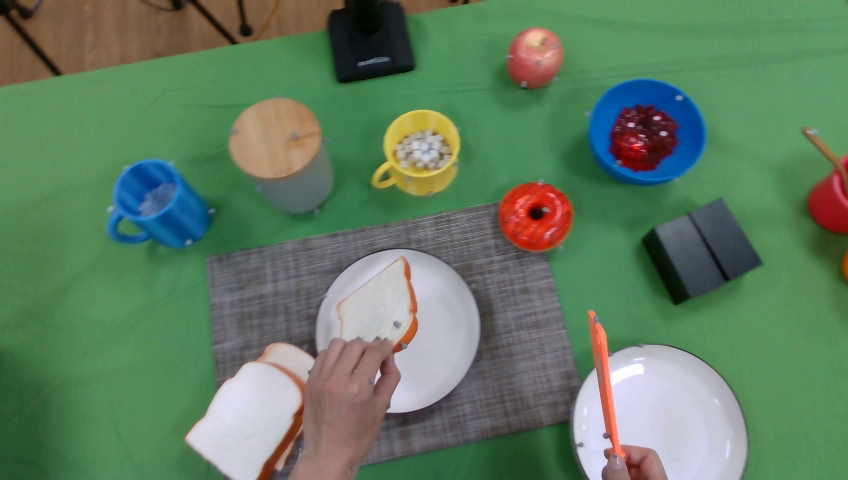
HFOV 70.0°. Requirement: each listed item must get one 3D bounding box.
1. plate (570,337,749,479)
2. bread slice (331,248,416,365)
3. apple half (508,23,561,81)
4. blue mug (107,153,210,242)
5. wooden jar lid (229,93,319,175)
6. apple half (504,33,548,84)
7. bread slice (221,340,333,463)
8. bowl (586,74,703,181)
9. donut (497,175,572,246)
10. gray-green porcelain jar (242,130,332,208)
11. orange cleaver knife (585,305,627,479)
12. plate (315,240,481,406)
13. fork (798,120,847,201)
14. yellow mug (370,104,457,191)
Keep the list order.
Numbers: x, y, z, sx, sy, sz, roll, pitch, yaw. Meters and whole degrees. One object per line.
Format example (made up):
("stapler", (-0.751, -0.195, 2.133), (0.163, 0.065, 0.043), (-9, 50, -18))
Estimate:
("plate", (0.278, 0.223, 0.730), (0.209, 0.038, 0.208), (0, 72, 1))
("bread slice", (-0.053, 0.077, 0.684), (0.107, 0.018, 0.133), (-38, 35, 10))
("apple half", (0.163, -0.273, 0.869), (0.053, 0.075, 0.080), (-41, 72, -17))
("blue mug", (-0.350, -0.043, 0.784), (0.116, 0.106, 0.082), (-36, 75, -10))
("wooden jar lid", (-0.180, -0.126, 0.732), (0.108, 0.021, 0.107), (0, 71, 1))
("apple half", (0.136, -0.248, 0.859), (0.033, 0.082, 0.081), (-42, 76, -17))
("bread slice", (-0.169, 0.191, 0.739), (0.105, 0.019, 0.131), (23, 73, 0))
("bowl", (0.288, -0.139, 0.823), (0.151, 0.077, 0.150), (0, 73, 1))
("donut", (0.147, -0.040, 0.807), (0.099, 0.048, 0.098), (0, 73, 0))
("gray-green porcelain jar", (-0.179, -0.106, 0.792), (0.106, 0.127, 0.105), (0, 72, 1))
("orange cleaver knife", (0.184, 0.172, 0.612), (0.012, 0.077, 0.211), (-9, 90, 5))
("plate", (-0.032, 0.104, 0.767), (0.208, 0.039, 0.206), (0, 73, 1))
("fork", (0.523, -0.093, 0.770), (0.209, 0.018, 0.028), (32, 69, -33))
("yellow mug", (-0.018, -0.117, 0.826), (0.131, 0.064, 0.099), (-34, 75, -9))
